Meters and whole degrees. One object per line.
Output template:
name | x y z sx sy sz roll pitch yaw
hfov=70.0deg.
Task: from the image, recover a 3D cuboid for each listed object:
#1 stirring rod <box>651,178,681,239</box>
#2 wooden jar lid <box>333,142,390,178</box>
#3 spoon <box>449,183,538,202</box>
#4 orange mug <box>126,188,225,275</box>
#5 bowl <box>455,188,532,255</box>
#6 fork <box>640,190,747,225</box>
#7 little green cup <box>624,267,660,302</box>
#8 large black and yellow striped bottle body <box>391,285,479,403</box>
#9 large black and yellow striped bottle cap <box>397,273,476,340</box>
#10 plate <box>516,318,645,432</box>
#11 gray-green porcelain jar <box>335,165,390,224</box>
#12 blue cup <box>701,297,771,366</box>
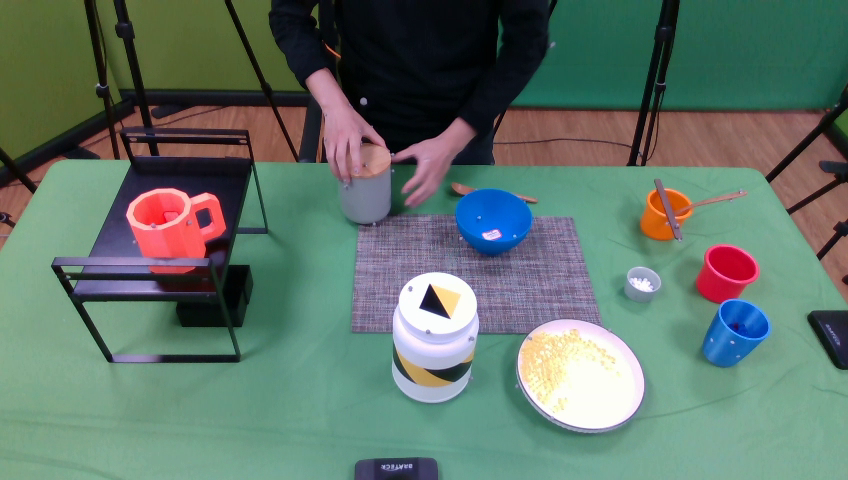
stirring rod | 0.480 -0.065 1.204 0.014 0.006 0.175 3 46 -3
wooden jar lid | -0.120 -0.151 1.171 0.108 0.021 0.107 1 44 -1
spoon | 0.150 -0.101 1.306 0.194 0.022 0.041 7 27 2
orange mug | -0.357 -0.019 0.884 0.126 0.101 0.083 -29 54 -23
bowl | 0.131 -0.025 1.186 0.151 0.077 0.150 2 46 -2
fork | 0.533 -0.064 1.211 0.207 0.019 0.028 -22 28 39
little green cup | 0.406 0.084 1.135 0.061 0.039 0.061 3 45 -3
large black and yellow striped bottle body | 0.015 0.153 0.938 0.131 0.185 0.130 2 46 -2
large black and yellow striped bottle cap | 0.018 0.094 0.878 0.115 0.019 0.114 3 46 -3
plate | 0.253 0.221 0.992 0.209 0.038 0.208 2 46 -2
gray-green porcelain jar | -0.121 -0.104 1.212 0.106 0.127 0.105 1 42 -1
blue cup | 0.519 0.162 1.025 0.093 0.101 0.092 3 45 -3
